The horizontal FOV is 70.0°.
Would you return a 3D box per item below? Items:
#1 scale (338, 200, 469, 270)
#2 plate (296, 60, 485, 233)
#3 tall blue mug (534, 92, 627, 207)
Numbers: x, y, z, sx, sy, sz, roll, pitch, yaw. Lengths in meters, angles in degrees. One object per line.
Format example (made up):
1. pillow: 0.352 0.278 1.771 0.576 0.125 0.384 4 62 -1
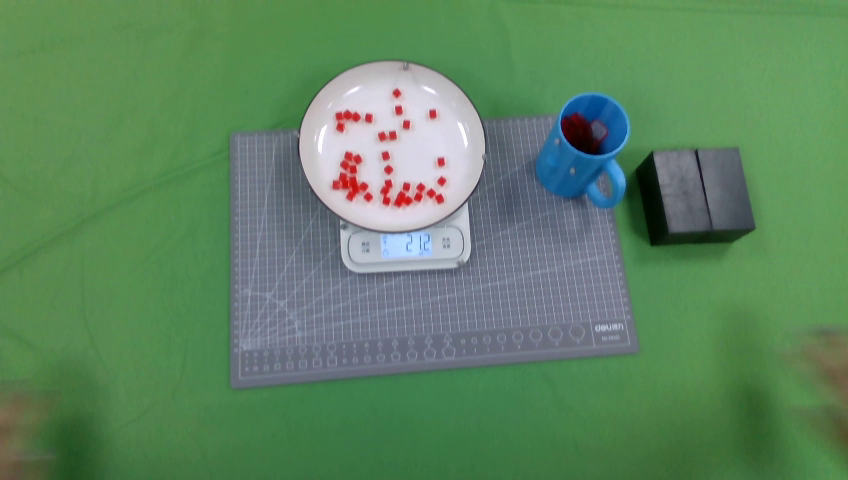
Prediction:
1. scale: -0.027 -0.067 0.705 0.149 0.032 0.199 -3 74 -3
2. plate: -0.036 -0.103 0.681 0.209 0.038 0.208 1 74 -4
3. tall blue mug: 0.187 -0.097 0.685 0.107 0.108 0.077 33 74 7
